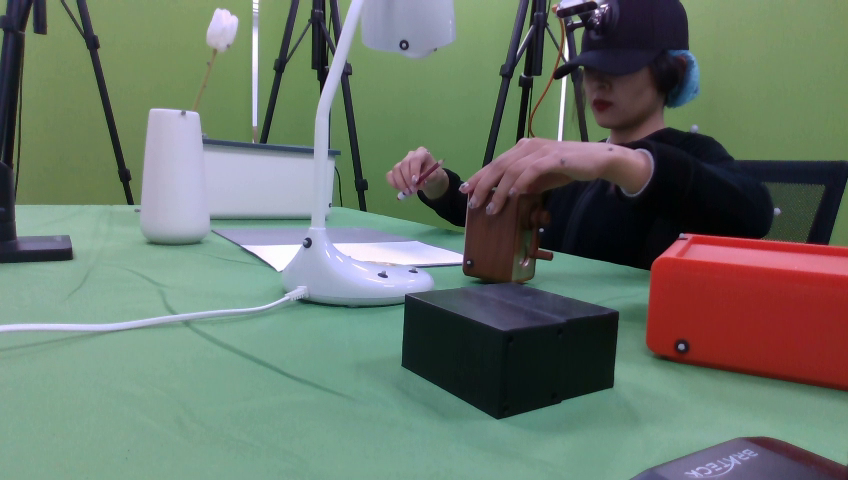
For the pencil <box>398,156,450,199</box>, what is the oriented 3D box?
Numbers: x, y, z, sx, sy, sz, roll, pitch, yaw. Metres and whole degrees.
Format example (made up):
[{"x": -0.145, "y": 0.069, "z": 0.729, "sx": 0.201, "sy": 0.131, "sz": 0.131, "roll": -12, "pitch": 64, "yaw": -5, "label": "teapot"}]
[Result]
[{"x": -0.002, "y": -0.103, "z": 1.004, "sx": 0.012, "sy": 0.012, "sz": 0.193, "roll": -2, "pitch": -15, "yaw": -27, "label": "pencil"}]

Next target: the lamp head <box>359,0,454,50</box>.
[{"x": -0.024, "y": -0.283, "z": 0.674, "sx": 0.112, "sy": 0.123, "sz": 0.112, "roll": -3, "pitch": 38, "yaw": 3, "label": "lamp head"}]

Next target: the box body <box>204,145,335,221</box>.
[{"x": -0.411, "y": -0.135, "z": 1.386, "sx": 0.366, "sy": 0.160, "sz": 0.253, "roll": -2, "pitch": 9, "yaw": -29, "label": "box body"}]

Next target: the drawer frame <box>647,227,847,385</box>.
[{"x": 0.303, "y": 0.043, "z": 0.495, "sx": 0.201, "sy": 0.082, "sz": 0.214, "roll": 6, "pitch": 9, "yaw": 26, "label": "drawer frame"}]

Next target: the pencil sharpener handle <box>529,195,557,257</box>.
[{"x": 0.137, "y": -0.015, "z": 0.676, "sx": 0.030, "sy": 0.067, "sz": 0.036, "roll": 10, "pitch": 4, "yaw": 36, "label": "pencil sharpener handle"}]

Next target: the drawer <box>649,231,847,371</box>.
[{"x": 0.302, "y": 0.043, "z": 0.499, "sx": 0.194, "sy": 0.073, "sz": 0.212, "roll": 7, "pitch": 9, "yaw": 27, "label": "drawer"}]

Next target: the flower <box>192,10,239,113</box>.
[{"x": -0.354, "y": -0.174, "z": 0.915, "sx": 0.038, "sy": 0.361, "sz": 0.044, "roll": 18, "pitch": -3, "yaw": 12, "label": "flower"}]

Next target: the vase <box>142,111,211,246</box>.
[{"x": -0.378, "y": -0.093, "z": 0.920, "sx": 0.098, "sy": 0.200, "sz": 0.098, "roll": 2, "pitch": 9, "yaw": 0, "label": "vase"}]

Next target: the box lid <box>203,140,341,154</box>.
[{"x": -0.396, "y": -0.212, "z": 1.373, "sx": 0.373, "sy": 0.015, "sz": 0.262, "roll": -1, "pitch": 9, "yaw": -29, "label": "box lid"}]

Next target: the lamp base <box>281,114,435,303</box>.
[{"x": -0.071, "y": -0.035, "z": 0.614, "sx": 0.160, "sy": 0.180, "sz": 0.180, "roll": 6, "pitch": 10, "yaw": 27, "label": "lamp base"}]

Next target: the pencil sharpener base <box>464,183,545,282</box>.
[{"x": 0.096, "y": -0.010, "z": 0.709, "sx": 0.076, "sy": 0.107, "sz": 0.061, "roll": 10, "pitch": 10, "yaw": 36, "label": "pencil sharpener base"}]

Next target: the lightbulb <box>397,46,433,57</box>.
[{"x": -0.017, "y": -0.265, "z": 0.692, "sx": 0.059, "sy": 0.108, "sz": 0.059, "roll": -10, "pitch": 28, "yaw": 5, "label": "lightbulb"}]
